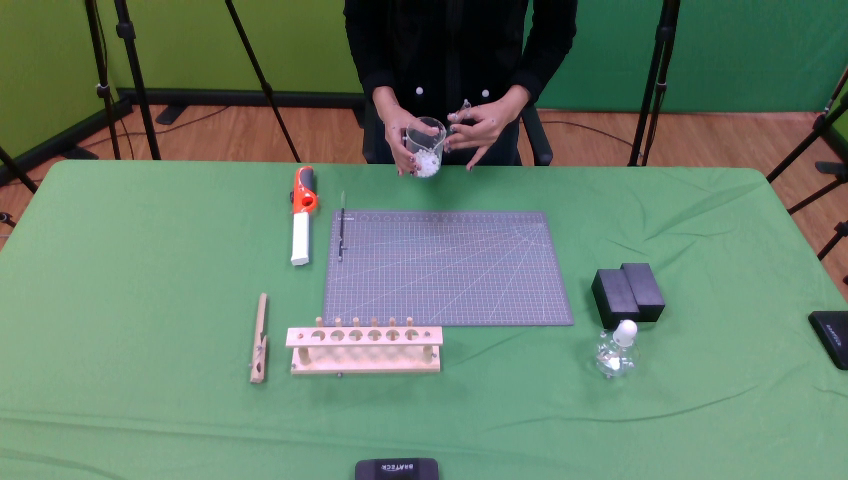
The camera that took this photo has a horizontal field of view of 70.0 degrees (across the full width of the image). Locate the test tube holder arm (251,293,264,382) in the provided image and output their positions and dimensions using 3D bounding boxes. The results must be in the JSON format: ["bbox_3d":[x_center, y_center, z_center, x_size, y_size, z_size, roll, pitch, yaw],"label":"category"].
[{"bbox_3d":[-0.281,0.160,1.025,0.013,0.015,0.177,23,36,-32],"label":"test tube holder arm"}]

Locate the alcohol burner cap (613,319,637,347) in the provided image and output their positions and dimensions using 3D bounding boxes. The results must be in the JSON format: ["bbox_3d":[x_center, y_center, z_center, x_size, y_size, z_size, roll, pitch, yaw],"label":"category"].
[{"bbox_3d":[0.323,0.146,0.966,0.034,0.048,0.033,-1,52,2],"label":"alcohol burner cap"}]

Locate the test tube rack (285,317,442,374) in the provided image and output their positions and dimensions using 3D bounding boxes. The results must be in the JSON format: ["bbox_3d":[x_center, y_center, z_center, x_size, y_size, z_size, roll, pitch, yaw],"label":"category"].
[{"bbox_3d":[-0.095,0.166,0.988,0.242,0.085,0.066,0,46,-4],"label":"test tube rack"}]

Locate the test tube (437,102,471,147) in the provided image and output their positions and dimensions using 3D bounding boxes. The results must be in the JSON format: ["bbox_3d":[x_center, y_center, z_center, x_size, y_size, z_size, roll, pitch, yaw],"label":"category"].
[{"bbox_3d":[0.056,-0.220,1.171,0.017,0.150,0.017,7,67,-17],"label":"test tube"}]

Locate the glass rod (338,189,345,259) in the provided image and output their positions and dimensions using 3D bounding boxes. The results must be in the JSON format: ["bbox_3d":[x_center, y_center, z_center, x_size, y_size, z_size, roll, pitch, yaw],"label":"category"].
[{"bbox_3d":[-0.166,-0.037,1.227,0.008,0.008,0.198,-1,47,-4],"label":"glass rod"}]

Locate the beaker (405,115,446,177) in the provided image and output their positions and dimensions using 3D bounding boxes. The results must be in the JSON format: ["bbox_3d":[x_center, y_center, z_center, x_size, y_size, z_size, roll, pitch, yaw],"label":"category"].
[{"bbox_3d":[0.002,-0.172,1.151,0.074,0.101,0.083,-12,60,-12],"label":"beaker"}]

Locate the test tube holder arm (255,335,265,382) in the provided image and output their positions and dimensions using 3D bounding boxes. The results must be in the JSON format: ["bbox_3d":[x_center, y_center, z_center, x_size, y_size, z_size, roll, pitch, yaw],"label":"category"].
[{"bbox_3d":[-0.270,0.193,0.997,0.010,0.015,0.087,24,36,-32],"label":"test tube holder arm"}]

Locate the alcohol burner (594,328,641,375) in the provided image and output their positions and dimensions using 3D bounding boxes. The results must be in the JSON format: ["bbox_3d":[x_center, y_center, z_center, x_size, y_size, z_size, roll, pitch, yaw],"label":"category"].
[{"bbox_3d":[0.322,0.170,0.994,0.078,0.119,0.077,3,48,-3],"label":"alcohol burner"}]

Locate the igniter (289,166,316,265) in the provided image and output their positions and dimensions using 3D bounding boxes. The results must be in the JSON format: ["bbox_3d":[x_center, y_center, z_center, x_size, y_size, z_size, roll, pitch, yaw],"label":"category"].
[{"bbox_3d":[-0.248,-0.058,1.233,0.057,0.025,0.274,-9,47,1],"label":"igniter"}]
